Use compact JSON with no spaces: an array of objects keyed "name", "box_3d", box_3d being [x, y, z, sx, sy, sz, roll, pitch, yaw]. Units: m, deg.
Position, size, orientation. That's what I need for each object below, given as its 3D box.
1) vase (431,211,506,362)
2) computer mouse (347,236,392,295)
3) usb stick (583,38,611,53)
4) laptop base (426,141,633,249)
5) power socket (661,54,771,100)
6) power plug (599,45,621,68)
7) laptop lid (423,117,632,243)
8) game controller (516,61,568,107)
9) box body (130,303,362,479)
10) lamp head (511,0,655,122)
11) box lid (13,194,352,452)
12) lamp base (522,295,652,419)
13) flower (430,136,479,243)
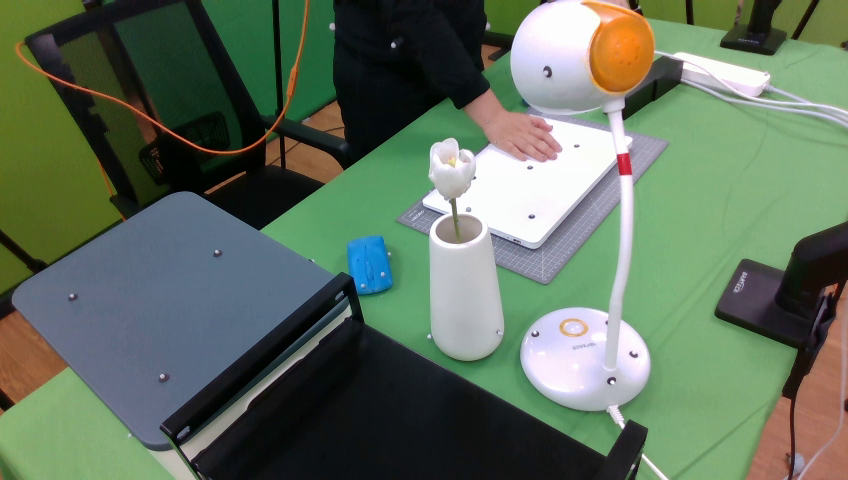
[{"name":"vase","box_3d":[0.054,0.062,0.757,0.098,0.201,0.097,-3,40,3]},{"name":"computer mouse","box_3d":[-0.086,0.035,0.936,0.063,0.041,0.116,-8,44,-5]},{"name":"usb stick","box_3d":[0.390,-0.439,1.363,0.059,0.027,0.021,8,28,12]},{"name":"laptop base","box_3d":[0.194,-0.116,1.087,0.233,0.023,0.355,21,47,34]},{"name":"power socket","box_3d":[0.614,-0.349,1.284,0.072,0.033,0.225,-35,48,-29]},{"name":"power plug","box_3d":[0.438,-0.422,1.412,0.053,0.035,0.072,-17,74,-46]},{"name":"laptop lid","box_3d":[0.190,-0.125,1.082,0.239,0.013,0.358,22,48,35]},{"name":"game controller","box_3d":[0.259,-0.352,1.336,0.097,0.052,0.154,-3,41,2]},{"name":"box body","box_3d":[-0.285,0.123,0.766,0.361,0.161,0.255,25,49,33]},{"name":"lamp head","box_3d":[0.155,-0.168,0.564,0.113,0.113,0.122,-18,23,-12]},{"name":"box lid","box_3d":[-0.291,0.067,0.717,0.368,0.015,0.264,25,50,33]},{"name":"lamp base","box_3d":[0.201,0.095,0.710,0.161,0.181,0.177,-16,43,-10]},{"name":"flower","box_3d":[0.041,0.011,0.691,0.044,0.363,0.038,16,62,14]}]
